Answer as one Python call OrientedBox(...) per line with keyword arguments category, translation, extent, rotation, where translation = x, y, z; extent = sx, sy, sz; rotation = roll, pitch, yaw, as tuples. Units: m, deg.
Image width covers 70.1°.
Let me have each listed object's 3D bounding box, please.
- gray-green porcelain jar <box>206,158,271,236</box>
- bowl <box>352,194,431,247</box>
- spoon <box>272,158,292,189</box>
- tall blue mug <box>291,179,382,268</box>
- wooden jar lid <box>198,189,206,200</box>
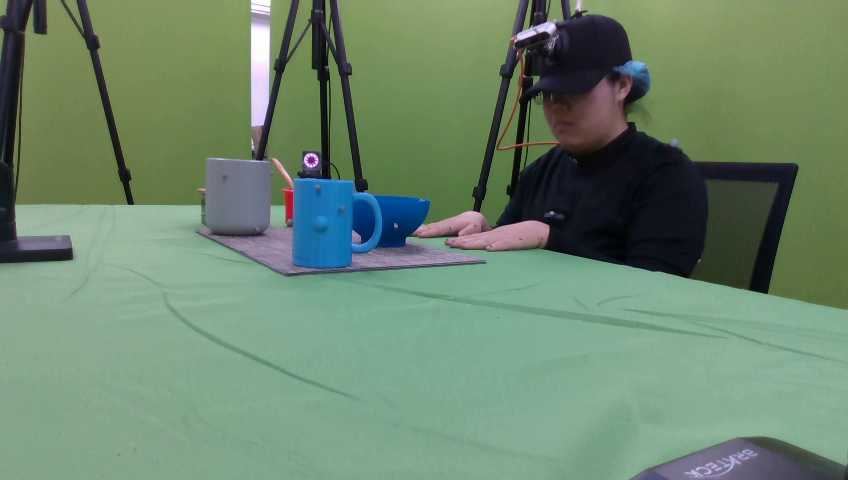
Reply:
OrientedBox(category="gray-green porcelain jar", translation=(-0.317, -0.074, 1.032), extent=(0.106, 0.126, 0.106), rotation=(3, 7, 0))
OrientedBox(category="bowl", translation=(-0.066, -0.031, 0.984), extent=(0.151, 0.077, 0.151), rotation=(2, 7, 0))
OrientedBox(category="spoon", translation=(-0.268, -0.103, 1.236), extent=(0.042, 0.193, 0.021), rotation=(-10, -32, -40))
OrientedBox(category="tall blue mug", translation=(-0.116, -0.023, 0.779), extent=(0.108, 0.108, 0.077), rotation=(-2, 8, -34))
OrientedBox(category="wooden jar lid", translation=(-0.382, -0.088, 1.175), extent=(0.108, 0.020, 0.108), rotation=(3, 8, 0))
